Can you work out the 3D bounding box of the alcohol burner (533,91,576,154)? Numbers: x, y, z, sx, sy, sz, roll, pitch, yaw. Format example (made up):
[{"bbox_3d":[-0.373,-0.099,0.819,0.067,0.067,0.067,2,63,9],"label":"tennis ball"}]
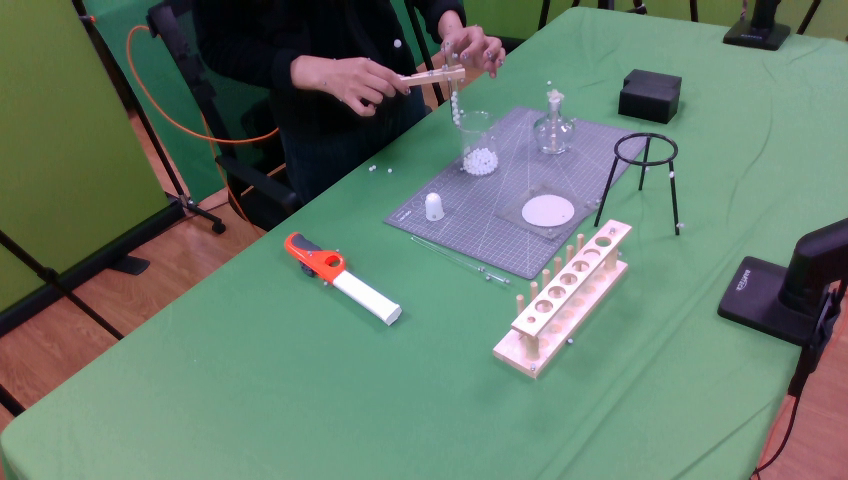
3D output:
[{"bbox_3d":[0.243,-0.222,1.124,0.078,0.119,0.077,-4,39,4],"label":"alcohol burner"}]

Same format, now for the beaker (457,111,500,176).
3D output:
[{"bbox_3d":[0.104,-0.176,1.108,0.073,0.101,0.084,16,46,27],"label":"beaker"}]

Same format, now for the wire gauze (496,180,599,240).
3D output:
[{"bbox_3d":[0.206,-0.050,1.012,0.125,0.011,0.120,-34,45,-26],"label":"wire gauze"}]

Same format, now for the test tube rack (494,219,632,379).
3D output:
[{"bbox_3d":[0.191,0.068,0.818,0.066,0.085,0.243,25,51,35],"label":"test tube rack"}]

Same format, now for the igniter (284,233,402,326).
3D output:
[{"bbox_3d":[-0.136,0.054,0.942,0.274,0.025,0.057,30,64,37],"label":"igniter"}]

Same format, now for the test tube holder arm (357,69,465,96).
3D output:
[{"bbox_3d":[-0.020,-0.257,0.986,0.179,0.015,0.013,-12,35,-5],"label":"test tube holder arm"}]

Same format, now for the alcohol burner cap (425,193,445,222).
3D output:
[{"bbox_3d":[0.017,-0.058,1.029,0.034,0.048,0.033,-6,40,5],"label":"alcohol burner cap"}]

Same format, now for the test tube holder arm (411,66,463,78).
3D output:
[{"bbox_3d":[0.022,-0.271,0.996,0.088,0.015,0.010,-16,36,-11],"label":"test tube holder arm"}]

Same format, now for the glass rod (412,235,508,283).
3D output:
[{"bbox_3d":[0.051,0.028,0.951,0.198,0.008,0.008,25,51,37],"label":"glass rod"}]

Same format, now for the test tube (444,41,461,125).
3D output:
[{"bbox_3d":[0.048,-0.258,1.010,0.017,0.151,0.017,-6,42,5],"label":"test tube"}]

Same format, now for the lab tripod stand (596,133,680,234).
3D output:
[{"bbox_3d":[0.338,-0.091,0.940,0.148,0.132,0.147,-7,39,6],"label":"lab tripod stand"}]
